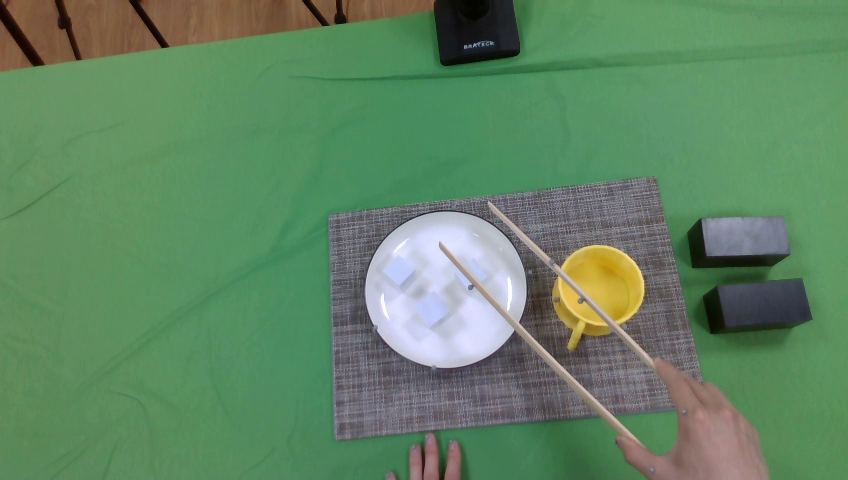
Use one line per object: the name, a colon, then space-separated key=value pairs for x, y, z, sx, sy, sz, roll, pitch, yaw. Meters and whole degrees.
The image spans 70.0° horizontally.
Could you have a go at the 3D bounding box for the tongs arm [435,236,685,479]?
tongs arm: x=0.136 y=0.114 z=0.636 sx=0.028 sy=0.028 sz=0.383 roll=-40 pitch=59 yaw=-11

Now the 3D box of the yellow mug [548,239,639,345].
yellow mug: x=0.199 y=0.069 z=0.741 sx=0.099 sy=0.064 sz=0.130 roll=24 pitch=76 yaw=12

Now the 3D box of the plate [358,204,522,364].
plate: x=0.020 y=0.057 z=0.776 sx=0.207 sy=0.039 sz=0.206 roll=-1 pitch=72 yaw=4

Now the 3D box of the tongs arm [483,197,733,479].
tongs arm: x=0.171 y=0.086 z=0.639 sx=0.051 sy=0.027 sz=0.381 roll=-40 pitch=59 yaw=-7
